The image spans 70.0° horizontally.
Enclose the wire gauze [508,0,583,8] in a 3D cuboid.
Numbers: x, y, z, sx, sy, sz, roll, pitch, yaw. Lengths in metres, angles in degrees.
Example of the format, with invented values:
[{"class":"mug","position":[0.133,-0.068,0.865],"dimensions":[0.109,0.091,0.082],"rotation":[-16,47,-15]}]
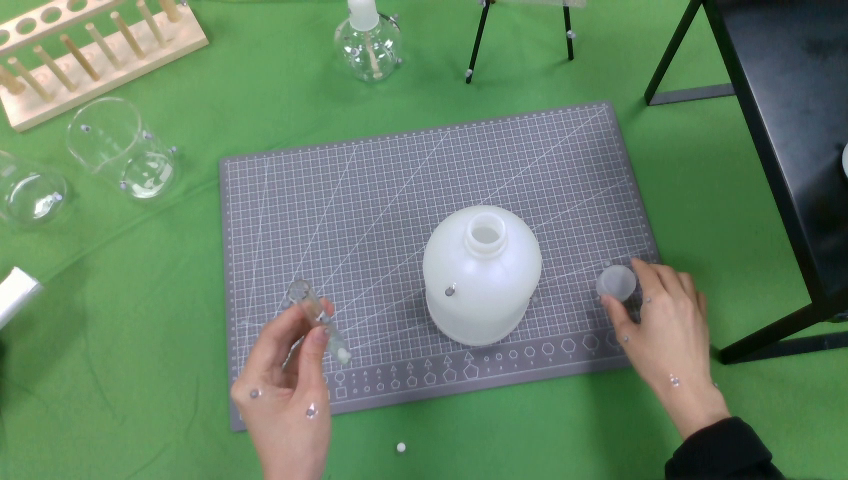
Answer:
[{"class":"wire gauze","position":[0.107,-0.288,0.607],"dimensions":[0.121,0.011,0.124],"rotation":[12,71,4]}]

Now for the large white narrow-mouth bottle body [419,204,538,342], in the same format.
[{"class":"large white narrow-mouth bottle body","position":[0.047,0.025,0.530],"dimensions":[0.102,0.196,0.101],"rotation":[-1,71,2]}]

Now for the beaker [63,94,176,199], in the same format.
[{"class":"beaker","position":[-0.312,-0.090,0.634],"dimensions":[0.074,0.101,0.083],"rotation":[6,70,4]}]

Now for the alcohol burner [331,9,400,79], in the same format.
[{"class":"alcohol burner","position":[-0.067,-0.236,0.675],"dimensions":[0.078,0.120,0.077],"rotation":[0,67,0]}]

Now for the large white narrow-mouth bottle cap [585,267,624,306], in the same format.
[{"class":"large white narrow-mouth bottle cap","position":[0.183,0.047,0.611],"dimensions":[0.038,0.024,0.037],"rotation":[0,71,2]}]

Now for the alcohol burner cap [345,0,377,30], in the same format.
[{"class":"alcohol burner cap","position":[-0.069,-0.250,0.641],"dimensions":[0.034,0.048,0.033],"rotation":[0,68,1]}]

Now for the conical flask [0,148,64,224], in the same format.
[{"class":"conical flask","position":[-0.436,-0.071,0.617],"dimensions":[0.075,0.122,0.075],"rotation":[-1,69,2]}]

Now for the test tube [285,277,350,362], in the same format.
[{"class":"test tube","position":[-0.077,0.066,0.463],"dimensions":[0.017,0.151,0.017],"rotation":[-2,62,5]}]

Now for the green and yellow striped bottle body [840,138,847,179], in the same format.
[{"class":"green and yellow striped bottle body","position":[0.348,-0.079,0.411],"dimensions":[0.063,0.120,0.062],"rotation":[-1,69,2]}]

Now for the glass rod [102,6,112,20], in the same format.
[{"class":"glass rod","position":[-0.371,-0.287,0.644],"dimensions":[0.008,0.201,0.008],"rotation":[-3,64,7]}]

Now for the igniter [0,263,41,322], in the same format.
[{"class":"igniter","position":[-0.464,0.135,0.542],"dimensions":[0.057,0.025,0.276],"rotation":[34,71,11]}]

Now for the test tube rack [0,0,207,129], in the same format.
[{"class":"test tube rack","position":[-0.387,-0.226,0.693],"dimensions":[0.242,0.086,0.066],"rotation":[-29,71,-9]}]

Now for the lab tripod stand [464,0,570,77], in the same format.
[{"class":"lab tripod stand","position":[0.101,-0.261,0.669],"dimensions":[0.148,0.132,0.147],"rotation":[0,68,0]}]
